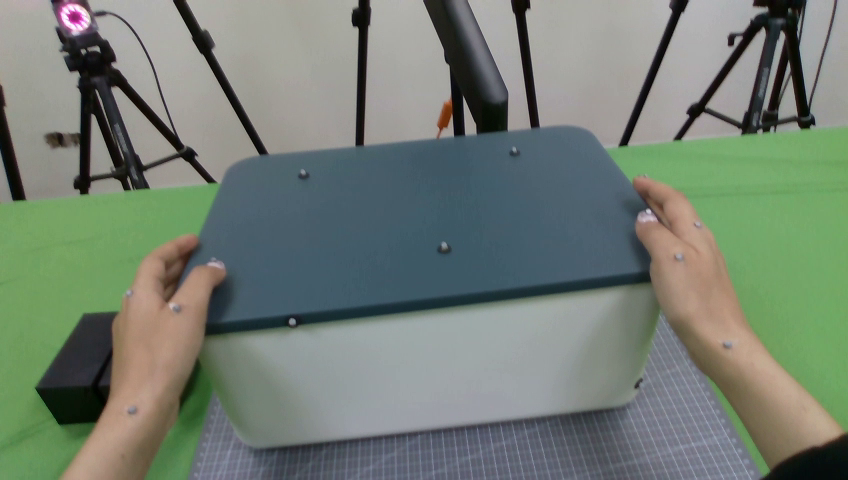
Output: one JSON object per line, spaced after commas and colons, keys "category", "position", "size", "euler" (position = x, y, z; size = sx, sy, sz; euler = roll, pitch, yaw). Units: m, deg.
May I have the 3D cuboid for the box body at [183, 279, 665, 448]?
{"category": "box body", "position": [0.000, 0.034, 0.564], "size": [0.364, 0.162, 0.251], "euler": [-6, 35, -2]}

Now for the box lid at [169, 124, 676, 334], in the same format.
{"category": "box lid", "position": [-0.008, -0.027, 0.521], "size": [0.372, 0.015, 0.260], "euler": [-6, 34, -2]}
